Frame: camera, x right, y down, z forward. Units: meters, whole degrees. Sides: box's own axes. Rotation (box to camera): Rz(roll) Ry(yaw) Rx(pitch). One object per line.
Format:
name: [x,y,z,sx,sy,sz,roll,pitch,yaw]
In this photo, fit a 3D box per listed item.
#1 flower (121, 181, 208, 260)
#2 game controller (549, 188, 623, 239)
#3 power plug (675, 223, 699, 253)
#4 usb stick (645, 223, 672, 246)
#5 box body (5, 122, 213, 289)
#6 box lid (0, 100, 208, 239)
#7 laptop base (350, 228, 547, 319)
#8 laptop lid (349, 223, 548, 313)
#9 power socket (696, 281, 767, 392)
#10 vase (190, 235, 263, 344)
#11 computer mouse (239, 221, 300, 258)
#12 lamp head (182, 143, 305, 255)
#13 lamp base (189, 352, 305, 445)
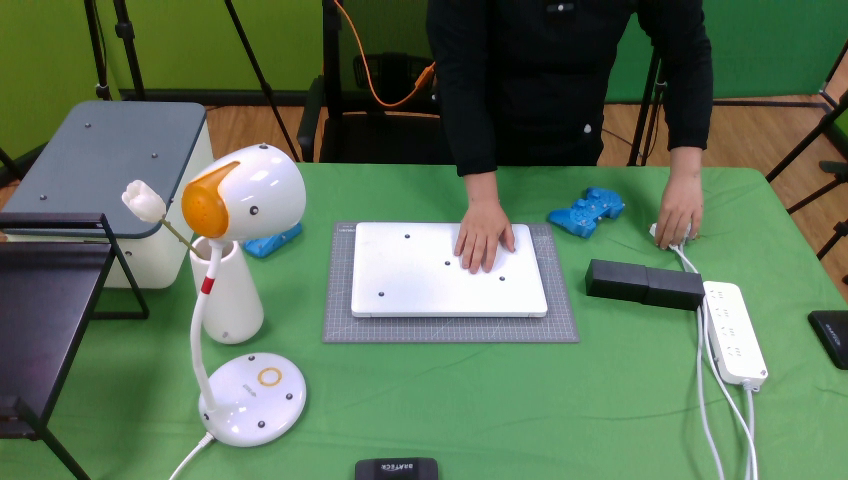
flower: [-0.329,0.029,0.905,0.038,0.364,0.044,-21,58,-1]
game controller: [0.346,-0.065,1.272,0.155,0.052,0.096,-31,58,-29]
power plug: [0.537,0.000,1.243,0.053,0.035,0.072,20,83,-17]
usb stick: [0.480,-0.016,1.250,0.021,0.027,0.059,-12,48,-27]
box body: [-0.563,-0.087,1.140,0.254,0.161,0.361,2,46,-3]
box lid: [-0.559,-0.138,1.085,0.263,0.015,0.369,2,46,-2]
laptop base: [0.041,0.056,1.149,0.355,0.023,0.234,0,43,-4]
laptop lid: [0.042,0.047,1.143,0.357,0.013,0.240,2,43,-3]
power socket: [0.543,0.161,1.077,0.072,0.033,0.225,6,46,2]
vase: [-0.317,0.081,0.971,0.098,0.201,0.097,3,47,-3]
computer mouse: [-0.300,-0.016,1.178,0.062,0.041,0.117,35,57,22]
lamp head: [-0.216,-0.044,0.697,0.112,0.113,0.123,23,31,17]
lamp base: [-0.268,0.196,0.876,0.160,0.181,0.179,25,52,20]
